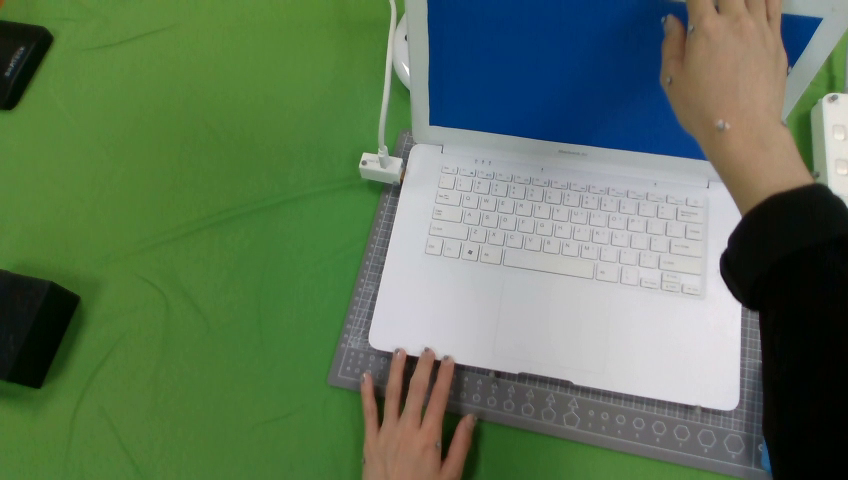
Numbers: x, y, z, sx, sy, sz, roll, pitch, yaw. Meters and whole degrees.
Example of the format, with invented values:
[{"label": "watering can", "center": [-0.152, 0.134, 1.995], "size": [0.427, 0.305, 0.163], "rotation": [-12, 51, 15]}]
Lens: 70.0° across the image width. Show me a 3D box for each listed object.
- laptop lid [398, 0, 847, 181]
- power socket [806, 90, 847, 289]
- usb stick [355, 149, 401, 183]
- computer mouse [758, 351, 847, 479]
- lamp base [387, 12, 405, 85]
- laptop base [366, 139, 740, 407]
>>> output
[{"label": "laptop lid", "center": [0.152, -0.149, 0.559], "size": [0.356, 0.244, 0.013], "rotation": [8, 59, 8]}, {"label": "power socket", "center": [0.443, -0.060, 0.628], "size": [0.072, 0.033, 0.225], "rotation": [9, 69, 5]}, {"label": "usb stick", "center": [-0.043, -0.079, 0.654], "size": [0.059, 0.027, 0.021], "rotation": [13, 65, 5]}, {"label": "computer mouse", "center": [0.339, 0.156, 0.541], "size": [0.062, 0.041, 0.116], "rotation": [13, 66, 10]}, {"label": "lamp base", "center": [0.026, -0.270, 0.654], "size": [0.161, 0.181, 0.177], "rotation": [-26, 66, -8]}, {"label": "laptop base", "center": [0.134, 0.024, 0.618], "size": [0.354, 0.023, 0.234], "rotation": [8, 72, 6]}]
